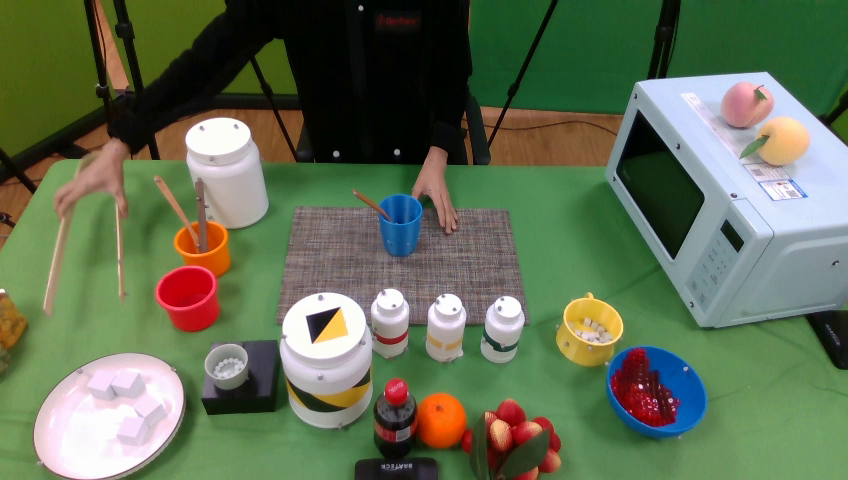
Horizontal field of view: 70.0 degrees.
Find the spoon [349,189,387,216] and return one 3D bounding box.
[{"bbox_3d":[-0.077,-0.045,1.120,0.021,0.195,0.041,-36,47,7],"label":"spoon"}]

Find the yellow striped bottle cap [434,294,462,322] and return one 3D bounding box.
[{"bbox_3d":[0.038,0.107,0.958,0.044,0.019,0.044,2,45,-1],"label":"yellow striped bottle cap"}]

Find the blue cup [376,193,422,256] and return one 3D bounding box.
[{"bbox_3d":[-0.049,-0.023,1.157,0.093,0.101,0.092,2,47,-2],"label":"blue cup"}]

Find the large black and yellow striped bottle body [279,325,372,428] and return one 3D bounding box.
[{"bbox_3d":[-0.143,0.181,0.900,0.131,0.185,0.130,2,46,-2],"label":"large black and yellow striped bottle body"}]

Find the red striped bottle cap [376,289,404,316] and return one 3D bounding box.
[{"bbox_3d":[-0.054,0.098,0.958,0.044,0.018,0.044,0,48,1],"label":"red striped bottle cap"}]

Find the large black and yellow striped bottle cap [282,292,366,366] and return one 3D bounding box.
[{"bbox_3d":[-0.138,0.121,0.841,0.115,0.019,0.114,3,47,-3],"label":"large black and yellow striped bottle cap"}]

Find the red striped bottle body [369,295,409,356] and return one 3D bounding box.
[{"bbox_3d":[-0.059,0.134,0.997,0.063,0.120,0.062,5,47,-5],"label":"red striped bottle body"}]

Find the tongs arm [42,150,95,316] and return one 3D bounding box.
[{"bbox_3d":[-0.633,-0.028,1.079,0.028,0.028,0.385,-9,49,-8],"label":"tongs arm"}]

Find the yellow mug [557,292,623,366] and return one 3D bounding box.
[{"bbox_3d":[0.285,0.145,1.051,0.100,0.064,0.130,7,46,4],"label":"yellow mug"}]

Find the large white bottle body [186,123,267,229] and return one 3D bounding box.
[{"bbox_3d":[-0.382,-0.127,1.175,0.131,0.185,0.130,2,46,-2],"label":"large white bottle body"}]

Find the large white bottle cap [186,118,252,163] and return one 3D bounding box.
[{"bbox_3d":[-0.377,-0.185,1.115,0.115,0.018,0.114,2,46,-2],"label":"large white bottle cap"}]

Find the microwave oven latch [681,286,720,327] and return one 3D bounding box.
[{"bbox_3d":[0.494,0.119,1.086,0.030,0.029,0.078,-5,46,-9],"label":"microwave oven latch"}]

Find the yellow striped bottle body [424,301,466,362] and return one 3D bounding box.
[{"bbox_3d":[0.035,0.143,0.995,0.063,0.121,0.062,3,46,-3],"label":"yellow striped bottle body"}]

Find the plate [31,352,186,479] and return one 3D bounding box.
[{"bbox_3d":[-0.459,0.262,0.898,0.209,0.038,0.208,2,46,-2],"label":"plate"}]

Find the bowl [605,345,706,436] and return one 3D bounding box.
[{"bbox_3d":[0.351,0.247,0.950,0.151,0.077,0.150,2,46,-2],"label":"bowl"}]

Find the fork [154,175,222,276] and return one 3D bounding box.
[{"bbox_3d":[-0.431,-0.026,1.101,0.028,0.018,0.207,-33,100,-25],"label":"fork"}]

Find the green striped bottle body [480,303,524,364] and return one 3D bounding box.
[{"bbox_3d":[0.129,0.147,1.000,0.063,0.120,0.063,2,46,-2],"label":"green striped bottle body"}]

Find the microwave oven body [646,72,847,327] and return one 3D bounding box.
[{"bbox_3d":[0.607,-0.089,1.164,0.326,0.261,0.438,-7,46,-10],"label":"microwave oven body"}]

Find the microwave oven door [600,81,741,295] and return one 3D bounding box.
[{"bbox_3d":[0.454,-0.107,1.161,0.039,0.245,0.353,-6,47,-11],"label":"microwave oven door"}]

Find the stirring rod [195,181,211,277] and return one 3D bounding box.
[{"bbox_3d":[-0.403,-0.020,1.104,0.014,0.006,0.176,-6,89,-9],"label":"stirring rod"}]

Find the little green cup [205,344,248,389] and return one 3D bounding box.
[{"bbox_3d":[-0.293,0.191,0.909,0.061,0.039,0.061,2,47,-2],"label":"little green cup"}]

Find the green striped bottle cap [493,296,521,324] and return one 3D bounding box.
[{"bbox_3d":[0.133,0.111,0.962,0.044,0.020,0.044,2,47,-2],"label":"green striped bottle cap"}]

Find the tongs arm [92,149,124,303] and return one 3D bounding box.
[{"bbox_3d":[-0.574,-0.038,1.095,0.051,0.026,0.382,-12,50,-15],"label":"tongs arm"}]
